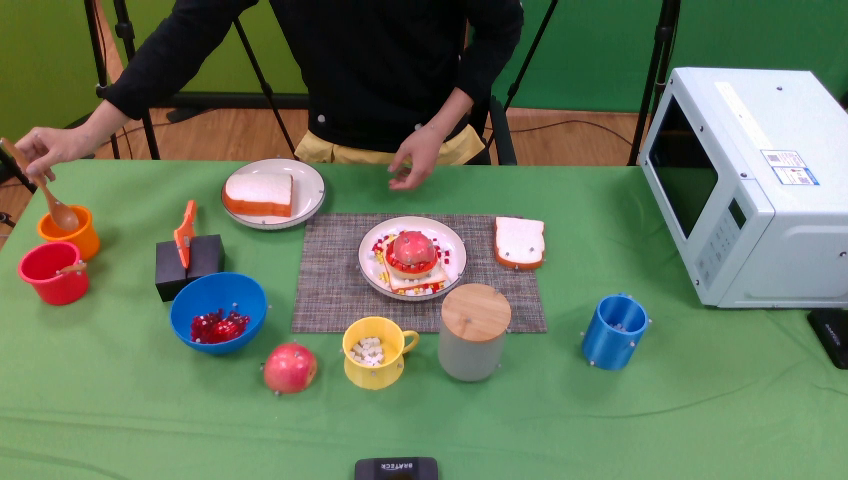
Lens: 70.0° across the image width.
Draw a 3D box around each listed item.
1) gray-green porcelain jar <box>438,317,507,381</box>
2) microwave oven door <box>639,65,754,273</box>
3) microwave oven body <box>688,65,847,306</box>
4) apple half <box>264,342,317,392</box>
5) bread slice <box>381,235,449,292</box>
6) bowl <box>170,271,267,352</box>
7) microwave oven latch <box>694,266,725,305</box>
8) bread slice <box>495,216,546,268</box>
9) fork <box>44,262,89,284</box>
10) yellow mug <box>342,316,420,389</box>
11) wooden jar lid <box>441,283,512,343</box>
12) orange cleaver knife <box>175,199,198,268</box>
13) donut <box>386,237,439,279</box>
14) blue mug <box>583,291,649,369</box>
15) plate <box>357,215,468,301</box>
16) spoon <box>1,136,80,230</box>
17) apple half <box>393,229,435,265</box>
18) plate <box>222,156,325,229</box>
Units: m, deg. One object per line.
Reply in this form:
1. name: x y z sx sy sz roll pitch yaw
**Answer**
1. gray-green porcelain jar: 0.076 0.158 0.977 0.106 0.127 0.105 2 47 -2
2. microwave oven door: 0.522 -0.147 1.192 0.039 0.245 0.353 0 47 -3
3. microwave oven body: 0.669 -0.111 1.176 0.326 0.261 0.439 0 46 -3
4. apple half: -0.214 0.198 0.970 0.074 0.053 0.080 19 48 11
5. bread slice: -0.027 0.039 1.140 0.107 0.018 0.133 -12 47 -16
6. bowl: -0.333 0.132 1.006 0.151 0.077 0.150 2 46 -2
7. microwave oven latch: 0.523 0.082 1.115 0.030 0.029 0.078 3 46 0
8. bread slice: 0.194 0.002 1.205 0.105 0.019 0.131 5 45 2
9. fork: -0.599 0.054 1.014 0.207 0.019 0.028 -15 29 45
10. yellow mug: -0.067 0.178 0.991 0.131 0.064 0.099 -16 50 -19
11. wooden jar lid: 0.080 0.114 0.931 0.108 0.021 0.107 1 49 -1
12. orange cleaver knife: -0.438 -0.017 1.138 0.012 0.077 0.210 -14 27 -7
13. donut: -0.021 0.028 1.111 0.099 0.048 0.098 3 46 -3
14. blue mug: 0.324 0.142 1.023 0.082 0.106 0.116 15 47 11
15. plate: -0.022 0.037 1.141 0.208 0.039 0.206 2 46 -2
16. spoon: -0.662 -0.097 1.050 0.021 0.195 0.041 5 43 23
17. apple half: -0.018 0.005 1.084 0.081 0.033 0.081 6 49 -7
18. plate: -0.308 -0.095 1.251 0.209 0.038 0.208 2 47 -2
